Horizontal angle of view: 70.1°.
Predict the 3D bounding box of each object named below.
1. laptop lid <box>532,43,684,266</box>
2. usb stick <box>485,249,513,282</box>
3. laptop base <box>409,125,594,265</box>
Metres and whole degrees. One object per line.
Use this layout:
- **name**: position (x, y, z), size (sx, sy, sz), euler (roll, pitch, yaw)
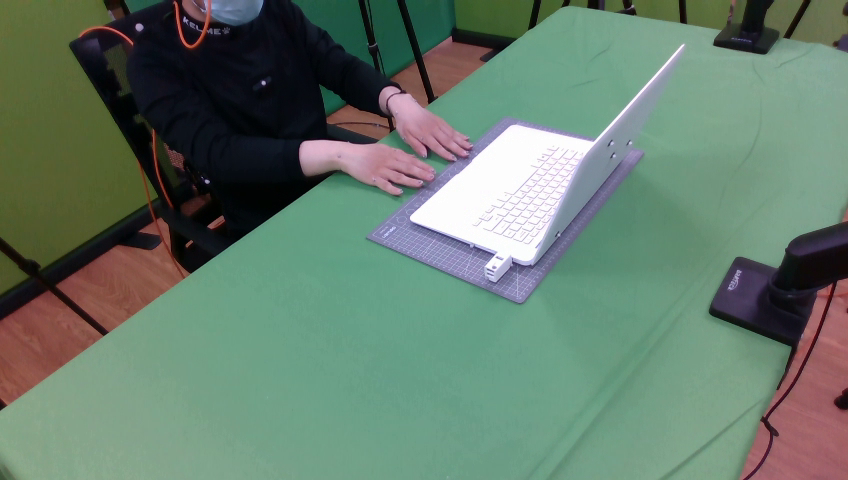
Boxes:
- **laptop lid**: position (0.280, -0.130, 0.907), size (0.013, 0.242, 0.357), euler (34, 52, 17)
- **usb stick**: position (0.115, 0.034, 0.896), size (0.021, 0.027, 0.059), euler (23, 47, 32)
- **laptop base**: position (0.168, -0.094, 1.056), size (0.233, 0.023, 0.355), euler (19, 47, 32)
